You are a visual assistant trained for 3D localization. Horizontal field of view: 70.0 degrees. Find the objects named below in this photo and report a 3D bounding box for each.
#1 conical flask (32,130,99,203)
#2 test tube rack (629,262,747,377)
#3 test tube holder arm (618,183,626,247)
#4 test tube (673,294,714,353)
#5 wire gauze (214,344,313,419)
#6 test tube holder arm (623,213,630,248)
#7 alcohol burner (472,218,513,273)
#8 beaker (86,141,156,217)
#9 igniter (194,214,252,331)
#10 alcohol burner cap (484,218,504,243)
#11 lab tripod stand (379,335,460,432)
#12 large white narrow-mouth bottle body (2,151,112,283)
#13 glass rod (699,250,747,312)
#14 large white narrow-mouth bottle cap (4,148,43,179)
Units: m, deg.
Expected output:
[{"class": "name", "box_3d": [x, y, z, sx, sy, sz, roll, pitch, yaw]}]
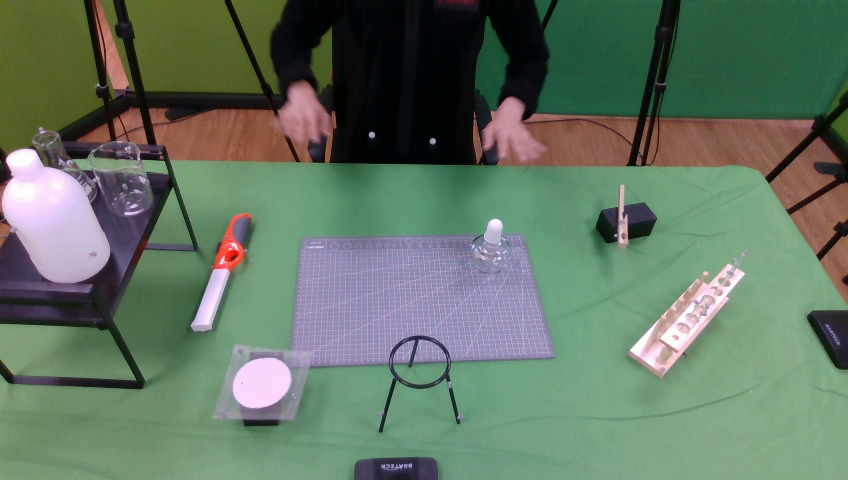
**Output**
[{"class": "conical flask", "box_3d": [-0.565, -0.110, 0.944, 0.075, 0.122, 0.075, 2, 46, -2]}, {"class": "test tube rack", "box_3d": [0.464, 0.126, 1.060, 0.242, 0.085, 0.066, -34, 56, -30]}, {"class": "test tube holder arm", "box_3d": [0.395, -0.053, 1.210, 0.013, 0.015, 0.177, 15, 47, -1]}, {"class": "test tube", "box_3d": [0.428, 0.137, 0.978, 0.017, 0.151, 0.017, 4, 47, -4]}, {"class": "wire gauze", "box_3d": [-0.241, 0.213, 0.916, 0.121, 0.011, 0.124, 5, 46, 1]}, {"class": "test tube holder arm", "box_3d": [0.392, -0.020, 1.180, 0.010, 0.015, 0.087, 15, 47, -1]}, {"class": "alcohol burner", "box_3d": [0.128, 0.005, 1.132, 0.078, 0.120, 0.077, 0, 47, 0]}, {"class": "beaker", "box_3d": [-0.467, -0.092, 0.949, 0.084, 0.101, 0.073, 15, 47, 11]}, {"class": "igniter", "box_3d": [-0.367, 0.050, 1.119, 0.057, 0.025, 0.275, -4, 46, 7]}, {"class": "alcohol burner cap", "box_3d": [0.130, -0.021, 1.106, 0.034, 0.048, 0.033, 3, 51, -4]}, {"class": "lab tripod stand", "box_3d": [-0.011, 0.214, 0.911, 0.148, 0.132, 0.147, 1, 45, 0]}, {"class": "large white narrow-mouth bottle body", "box_3d": [-0.507, -0.036, 0.825, 0.102, 0.195, 0.101, 1, 46, -1]}, {"class": "glass rod", "box_3d": [0.500, 0.075, 1.021, 0.008, 0.201, 0.008, 0, 55, 0]}, {"class": "large white narrow-mouth bottle cap", "box_3d": [-0.505, -0.096, 0.765, 0.038, 0.024, 0.037, 2, 46, -1]}]
